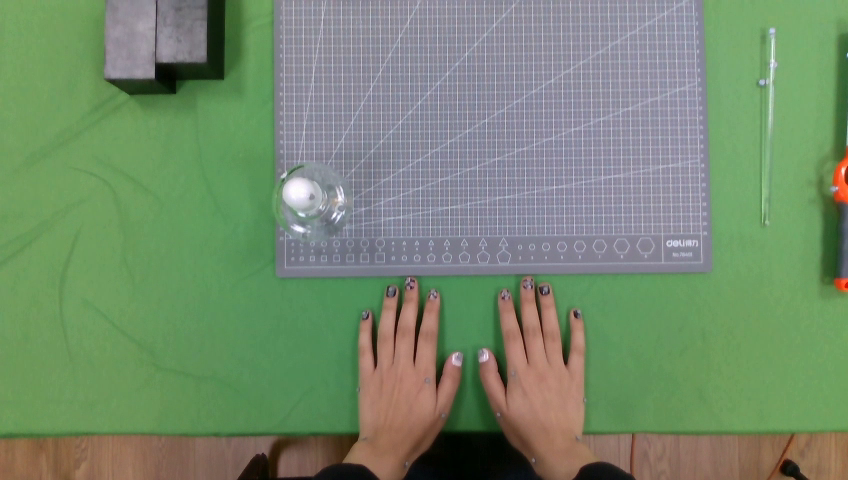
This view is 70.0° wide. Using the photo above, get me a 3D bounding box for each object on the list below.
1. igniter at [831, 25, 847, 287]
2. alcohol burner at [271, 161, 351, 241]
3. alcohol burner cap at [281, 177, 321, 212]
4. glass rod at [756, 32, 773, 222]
[{"bbox_3d":[0.447,-0.089,0.623,0.057,0.025,0.276,5,88,-10],"label":"igniter"},{"bbox_3d":[-0.111,-0.039,0.573,0.078,0.119,0.078,0,86,2],"label":"alcohol burner"},{"bbox_3d":[-0.111,-0.042,0.537,0.034,0.048,0.034,0,91,-3],"label":"alcohol burner cap"},{"bbox_3d":[0.356,-0.118,0.633,0.008,0.008,0.199,3,90,0],"label":"glass rod"}]
